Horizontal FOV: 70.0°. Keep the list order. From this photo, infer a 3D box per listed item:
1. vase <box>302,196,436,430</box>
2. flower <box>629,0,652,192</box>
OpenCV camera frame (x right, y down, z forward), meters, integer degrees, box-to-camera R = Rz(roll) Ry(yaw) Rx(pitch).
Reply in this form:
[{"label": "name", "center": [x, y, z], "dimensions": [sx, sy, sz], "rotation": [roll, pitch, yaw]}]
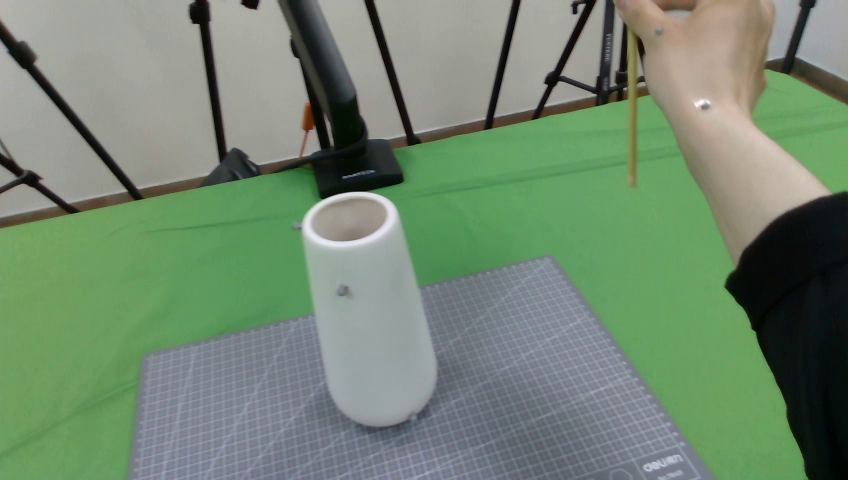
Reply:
[{"label": "vase", "center": [-0.045, 0.064, 0.495], "dimensions": [0.098, 0.202, 0.097], "rotation": [-4, 37, 4]}, {"label": "flower", "center": [0.145, -0.214, 0.421], "dimensions": [0.038, 0.362, 0.044], "rotation": [-4, 5, 18]}]
